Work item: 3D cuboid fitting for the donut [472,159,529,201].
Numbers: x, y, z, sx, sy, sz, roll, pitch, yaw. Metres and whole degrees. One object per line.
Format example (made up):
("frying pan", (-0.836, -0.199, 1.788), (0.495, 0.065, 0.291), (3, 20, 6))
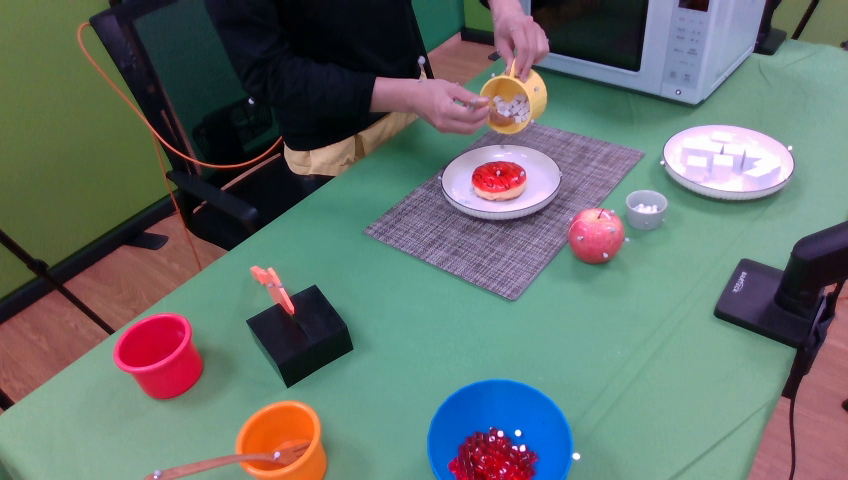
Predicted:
("donut", (0.132, -0.105, 1.043), (0.099, 0.048, 0.098), (-5, 38, 4))

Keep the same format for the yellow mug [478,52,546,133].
("yellow mug", (0.153, -0.254, 1.031), (0.099, 0.131, 0.064), (22, 37, 23))

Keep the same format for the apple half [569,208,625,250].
("apple half", (0.262, -0.014, 0.913), (0.080, 0.075, 0.053), (5, 37, 20))

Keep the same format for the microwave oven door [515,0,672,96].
("microwave oven door", (0.343, -0.455, 1.259), (0.353, 0.245, 0.039), (26, 51, 33))

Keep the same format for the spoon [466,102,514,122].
("spoon", (0.103, -0.210, 0.978), (0.041, 0.021, 0.195), (11, 7, 24))

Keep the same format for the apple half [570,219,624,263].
("apple half", (0.250, 0.009, 0.885), (0.081, 0.081, 0.033), (7, 39, 17))

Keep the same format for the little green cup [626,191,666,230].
("little green cup", (0.352, -0.046, 0.963), (0.061, 0.039, 0.061), (-4, 40, 4))

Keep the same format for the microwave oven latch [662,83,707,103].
("microwave oven latch", (0.517, -0.296, 1.204), (0.078, 0.029, 0.030), (27, 52, 35))

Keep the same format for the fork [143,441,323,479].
("fork", (-0.189, 0.231, 0.631), (0.028, 0.018, 0.209), (35, 13, 37))

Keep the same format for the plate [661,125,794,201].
("plate", (0.513, -0.128, 1.035), (0.207, 0.039, 0.206), (-4, 40, 4))

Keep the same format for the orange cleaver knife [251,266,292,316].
("orange cleaver knife", (-0.221, 0.071, 0.873), (0.012, 0.077, 0.210), (-25, 11, -21))

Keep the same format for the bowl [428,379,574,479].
("bowl", (0.082, 0.233, 0.644), (0.151, 0.077, 0.150), (-4, 40, 4))

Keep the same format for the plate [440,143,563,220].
("plate", (0.134, -0.098, 1.052), (0.209, 0.038, 0.208), (-4, 40, 4))

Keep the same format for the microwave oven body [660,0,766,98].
("microwave oven body", (0.472, -0.513, 1.317), (0.438, 0.261, 0.327), (26, 51, 34))
